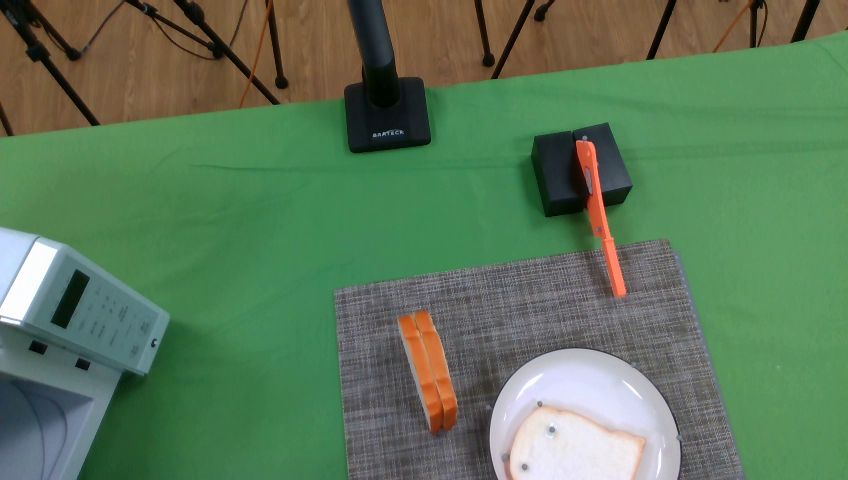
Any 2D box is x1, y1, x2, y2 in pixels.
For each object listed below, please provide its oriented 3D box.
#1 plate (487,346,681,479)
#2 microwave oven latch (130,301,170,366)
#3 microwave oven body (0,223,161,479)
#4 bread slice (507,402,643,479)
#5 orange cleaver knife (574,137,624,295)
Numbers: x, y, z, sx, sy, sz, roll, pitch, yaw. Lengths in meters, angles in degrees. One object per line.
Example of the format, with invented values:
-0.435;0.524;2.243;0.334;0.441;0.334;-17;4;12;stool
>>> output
0.174;0.224;0.675;0.207;0.039;0.206;-2;67;5;plate
-0.343;0.114;0.748;0.030;0.030;0.078;14;70;7;microwave oven latch
-0.535;0.204;0.614;0.325;0.262;0.439;12;69;7;microwave oven body
0.161;0.242;0.667;0.134;0.018;0.106;17;67;14;bread slice
0.223;-0.034;0.781;0.012;0.077;0.211;-12;88;0;orange cleaver knife
